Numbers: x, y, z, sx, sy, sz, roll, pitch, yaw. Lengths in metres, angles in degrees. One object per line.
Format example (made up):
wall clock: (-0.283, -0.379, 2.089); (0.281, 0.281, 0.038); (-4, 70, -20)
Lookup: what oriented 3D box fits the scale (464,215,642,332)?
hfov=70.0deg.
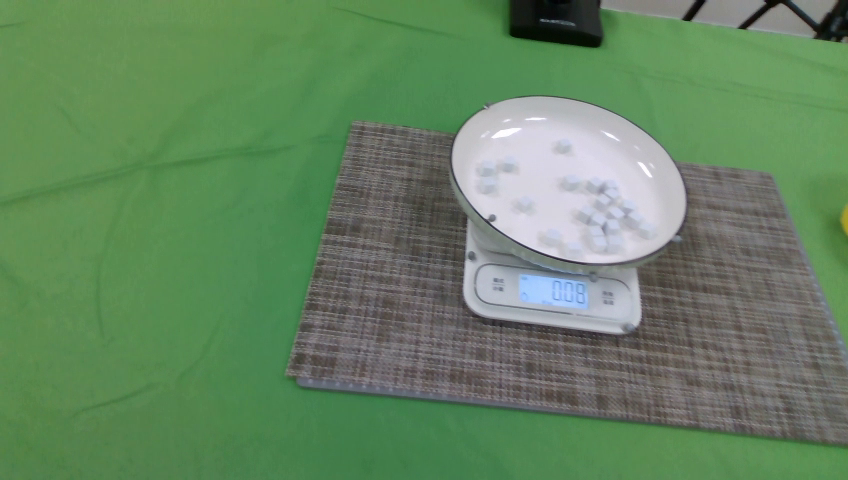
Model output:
scale: (0.115, -0.015, 0.547); (0.149, 0.032, 0.199); (8, 51, 0)

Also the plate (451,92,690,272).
plate: (0.125, -0.053, 0.537); (0.209, 0.038, 0.207); (4, 51, -4)

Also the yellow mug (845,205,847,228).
yellow mug: (0.475, -0.016, 0.573); (0.100, 0.064, 0.129); (6, 51, -2)
